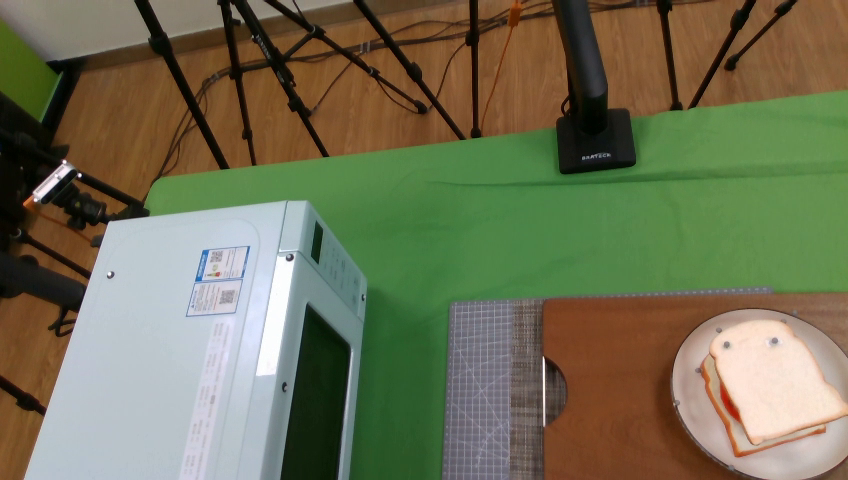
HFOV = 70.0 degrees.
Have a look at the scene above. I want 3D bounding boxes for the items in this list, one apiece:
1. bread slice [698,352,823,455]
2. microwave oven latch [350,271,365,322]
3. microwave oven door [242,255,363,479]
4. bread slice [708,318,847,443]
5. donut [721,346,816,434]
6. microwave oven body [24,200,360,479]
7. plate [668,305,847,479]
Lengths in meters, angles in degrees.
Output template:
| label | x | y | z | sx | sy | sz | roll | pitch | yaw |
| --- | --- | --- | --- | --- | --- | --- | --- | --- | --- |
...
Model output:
| label | x | y | z | sx | sy | sz | roll | pitch | yaw |
| --- | --- | --- | --- | --- | --- | --- | --- | --- | --- |
| bread slice | 0.395 | 0.182 | 0.730 | 0.105 | 0.019 | 0.130 | -18 | 60 | 3 |
| microwave oven latch | -0.108 | 0.088 | 0.943 | 0.030 | 0.030 | 0.078 | -5 | 60 | 13 |
| microwave oven door | -0.144 | 0.227 | 0.751 | 0.039 | 0.246 | 0.352 | -6 | 59 | 14 |
| bread slice | 0.384 | 0.151 | 0.676 | 0.107 | 0.018 | 0.133 | -22 | 51 | 4 |
| donut | 0.395 | 0.172 | 0.696 | 0.099 | 0.048 | 0.098 | -4 | 65 | 8 |
| microwave oven body | -0.282 | 0.209 | 0.810 | 0.325 | 0.263 | 0.438 | -6 | 60 | 13 |
| plate | 0.401 | 0.180 | 0.725 | 0.207 | 0.039 | 0.206 | -7 | 60 | 13 |
